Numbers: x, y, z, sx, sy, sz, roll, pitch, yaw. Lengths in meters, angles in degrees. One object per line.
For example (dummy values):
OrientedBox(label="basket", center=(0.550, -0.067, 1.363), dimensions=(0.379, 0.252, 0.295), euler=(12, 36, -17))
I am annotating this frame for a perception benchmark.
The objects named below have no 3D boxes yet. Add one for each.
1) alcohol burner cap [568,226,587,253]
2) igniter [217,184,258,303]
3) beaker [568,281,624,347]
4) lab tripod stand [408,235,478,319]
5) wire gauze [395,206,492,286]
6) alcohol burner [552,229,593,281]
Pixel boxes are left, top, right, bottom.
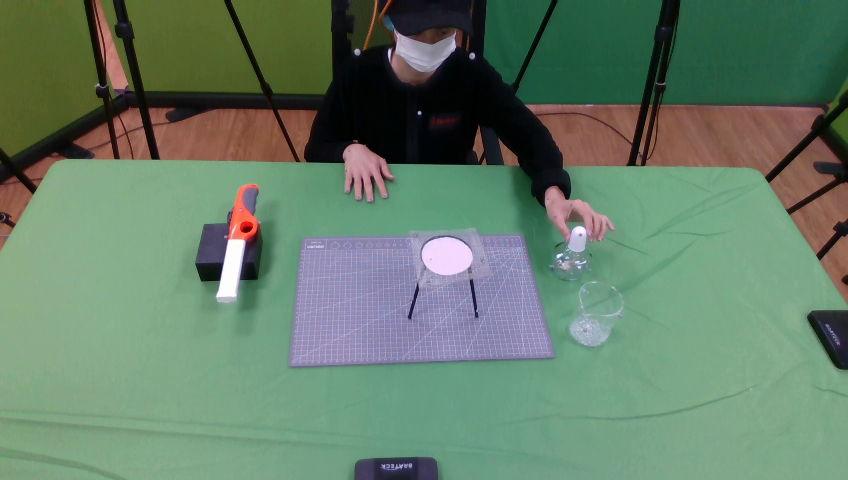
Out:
OrientedBox(label="alcohol burner cap", center=(0.284, -0.003, 1.112), dimensions=(0.034, 0.048, 0.033), euler=(0, 43, 0))
OrientedBox(label="igniter", center=(-0.339, -0.003, 1.106), dimensions=(0.057, 0.025, 0.274), euler=(1, 49, -6))
OrientedBox(label="beaker", center=(0.290, 0.132, 1.041), dimensions=(0.084, 0.101, 0.073), euler=(-34, 57, -31))
OrientedBox(label="lab tripod stand", center=(0.032, 0.065, 1.057), dimensions=(0.148, 0.132, 0.147), euler=(1, 45, -1))
OrientedBox(label="wire gauze", center=(0.031, 0.010, 0.993), dimensions=(0.125, 0.011, 0.120), euler=(-24, 57, -17))
OrientedBox(label="alcohol burner", center=(0.281, 0.021, 1.137), dimensions=(0.078, 0.120, 0.077), euler=(1, 48, -1))
